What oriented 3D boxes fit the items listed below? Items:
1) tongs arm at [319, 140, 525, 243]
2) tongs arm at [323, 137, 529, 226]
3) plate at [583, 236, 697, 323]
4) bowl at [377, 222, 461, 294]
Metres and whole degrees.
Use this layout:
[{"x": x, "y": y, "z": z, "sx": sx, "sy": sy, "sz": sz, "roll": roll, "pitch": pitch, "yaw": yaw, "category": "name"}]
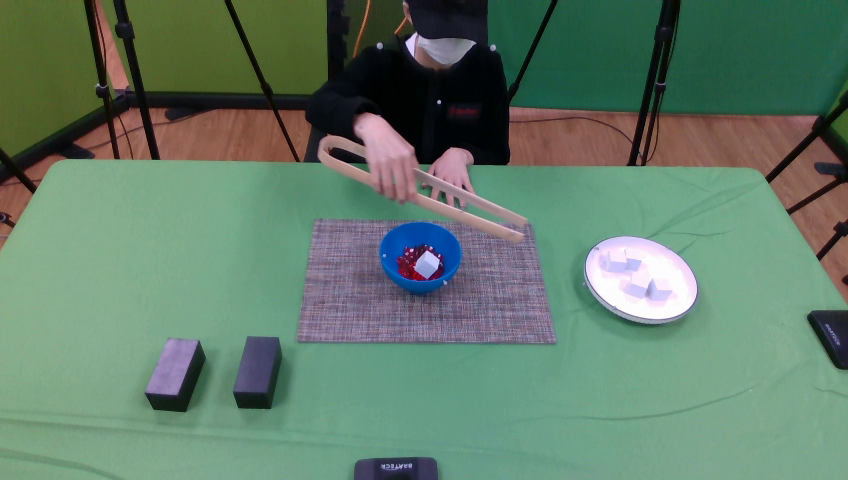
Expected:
[{"x": -0.003, "y": -0.083, "z": 1.055, "sx": 0.385, "sy": 0.026, "sz": 0.050, "roll": 20, "pitch": 49, "yaw": -5, "category": "tongs arm"}, {"x": 0.004, "y": -0.102, "z": 1.074, "sx": 0.388, "sy": 0.028, "sz": 0.028, "roll": 22, "pitch": 52, "yaw": -3, "category": "tongs arm"}, {"x": 0.403, "y": 0.078, "z": 1.144, "sx": 0.209, "sy": 0.038, "sz": 0.208, "roll": 2, "pitch": 45, "yaw": -2, "category": "plate"}, {"x": -0.010, "y": 0.045, "z": 1.109, "sx": 0.151, "sy": 0.077, "sz": 0.150, "roll": 2, "pitch": 46, "yaw": -2, "category": "bowl"}]
